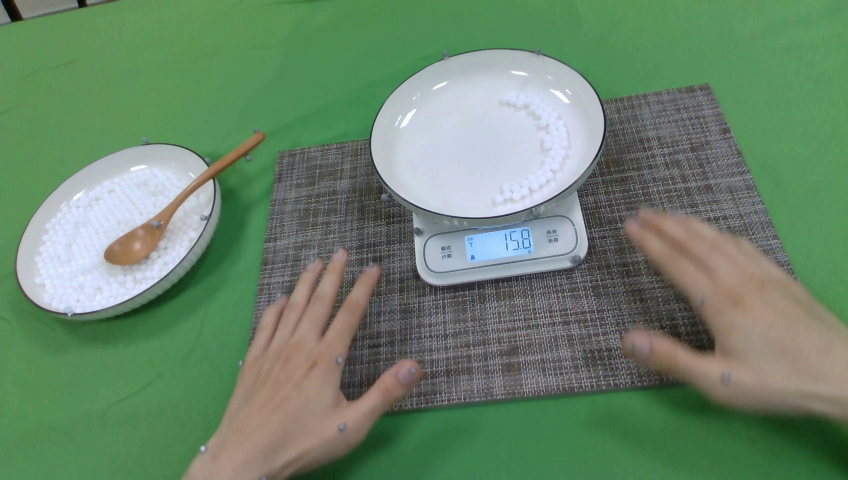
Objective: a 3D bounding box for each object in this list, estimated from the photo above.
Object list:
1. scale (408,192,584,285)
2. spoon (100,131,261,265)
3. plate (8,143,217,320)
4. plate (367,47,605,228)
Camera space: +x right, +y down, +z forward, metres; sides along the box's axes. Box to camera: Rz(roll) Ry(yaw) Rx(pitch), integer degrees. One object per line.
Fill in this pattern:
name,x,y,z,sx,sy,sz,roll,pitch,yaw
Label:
scale,0.057,-0.056,0.560,0.148,0.032,0.199,-8,55,7
spoon,-0.235,-0.044,0.596,0.193,0.022,0.041,-45,59,-10
plate,-0.304,-0.009,0.607,0.209,0.038,0.207,-5,55,8
plate,0.054,-0.092,0.545,0.207,0.039,0.205,-5,55,8
